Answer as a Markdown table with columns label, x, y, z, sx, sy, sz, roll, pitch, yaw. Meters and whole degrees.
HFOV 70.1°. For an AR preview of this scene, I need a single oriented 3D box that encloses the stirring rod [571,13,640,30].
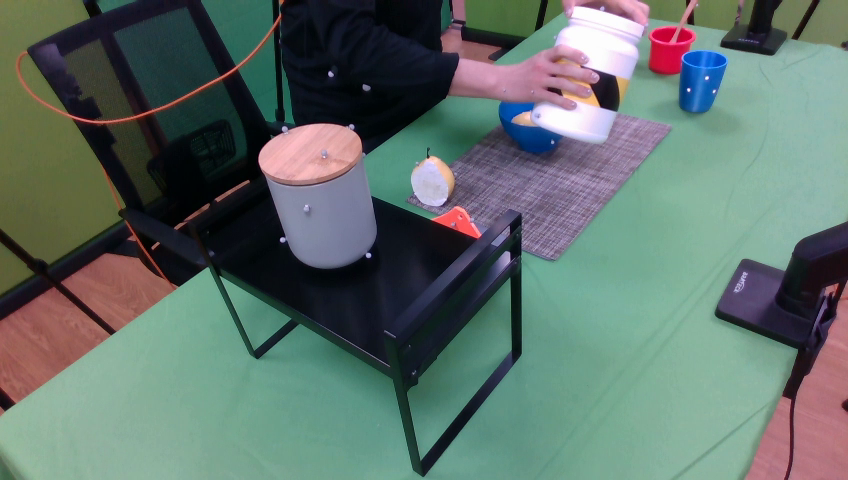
| label | x | y | z | sx | sy | sz | roll | pitch | yaw |
| --- | --- | --- | --- | --- | --- | --- | --- | --- | --- |
| stirring rod | 0.419 | -0.508 | 1.404 | 0.174 | 0.006 | 0.014 | 28 | 55 | 35 |

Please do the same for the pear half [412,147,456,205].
| label | x | y | z | sx | sy | sz | roll | pitch | yaw |
| --- | --- | --- | --- | --- | --- | --- | --- | --- | --- |
| pear half | 0.019 | -0.120 | 1.042 | 0.076 | 0.110 | 0.056 | 11 | 44 | 16 |

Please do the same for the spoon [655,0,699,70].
| label | x | y | z | sx | sy | sz | roll | pitch | yaw |
| --- | --- | --- | --- | --- | --- | --- | --- | --- | --- |
| spoon | 0.567 | -0.463 | 1.337 | 0.041 | 0.022 | 0.193 | 29 | 96 | 38 |

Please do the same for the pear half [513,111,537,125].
| label | x | y | z | sx | sy | sz | roll | pitch | yaw |
| --- | --- | --- | --- | --- | --- | --- | --- | --- | --- |
| pear half | 0.212 | -0.228 | 1.153 | 0.088 | 0.031 | 0.070 | 7 | 45 | 10 |

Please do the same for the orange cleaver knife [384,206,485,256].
| label | x | y | z | sx | sy | sz | roll | pitch | yaw |
| --- | --- | --- | --- | --- | --- | --- | --- | --- | --- |
| orange cleaver knife | 0.012 | -0.010 | 0.942 | 0.012 | 0.077 | 0.210 | -37 | 19 | -35 |

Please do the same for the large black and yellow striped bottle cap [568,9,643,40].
| label | x | y | z | sx | sy | sz | roll | pitch | yaw |
| --- | --- | --- | --- | --- | --- | --- | --- | --- | --- |
| large black and yellow striped bottle cap | 0.282 | -0.335 | 0.939 | 0.115 | 0.019 | 0.114 | 15 | 17 | -4 |

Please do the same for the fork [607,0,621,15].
| label | x | y | z | sx | sy | sz | roll | pitch | yaw |
| --- | --- | --- | --- | --- | --- | --- | --- | --- | --- |
| fork | 0.446 | -0.539 | 1.438 | 0.207 | 0.019 | 0.028 | -57 | 36 | 12 |

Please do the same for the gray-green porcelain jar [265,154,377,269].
| label | x | y | z | sx | sy | sz | roll | pitch | yaw |
| --- | --- | --- | --- | --- | --- | --- | --- | --- | --- |
| gray-green porcelain jar | -0.112 | -0.039 | 0.685 | 0.106 | 0.127 | 0.105 | -4 | 40 | 4 |

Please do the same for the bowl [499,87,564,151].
| label | x | y | z | sx | sy | sz | roll | pitch | yaw |
| --- | --- | --- | --- | --- | --- | --- | --- | --- | --- |
| bowl | 0.220 | -0.223 | 1.155 | 0.151 | 0.077 | 0.150 | -4 | 40 | 4 |

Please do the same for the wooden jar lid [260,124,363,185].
| label | x | y | z | sx | sy | sz | roll | pitch | yaw |
| --- | --- | --- | --- | --- | --- | --- | --- | --- | --- |
| wooden jar lid | -0.119 | -0.088 | 0.645 | 0.108 | 0.021 | 0.108 | -4 | 40 | 4 |

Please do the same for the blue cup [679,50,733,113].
| label | x | y | z | sx | sy | sz | roll | pitch | yaw |
| --- | --- | --- | --- | --- | --- | --- | --- | --- | --- |
| blue cup | 0.545 | -0.309 | 1.193 | 0.092 | 0.100 | 0.092 | -4 | 39 | 3 |

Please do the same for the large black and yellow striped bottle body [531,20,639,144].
| label | x | y | z | sx | sy | sz | roll | pitch | yaw |
| --- | --- | --- | --- | --- | --- | --- | --- | --- | --- |
| large black and yellow striped bottle body | 0.260 | -0.260 | 0.968 | 0.131 | 0.184 | 0.130 | 15 | 19 | -5 |
